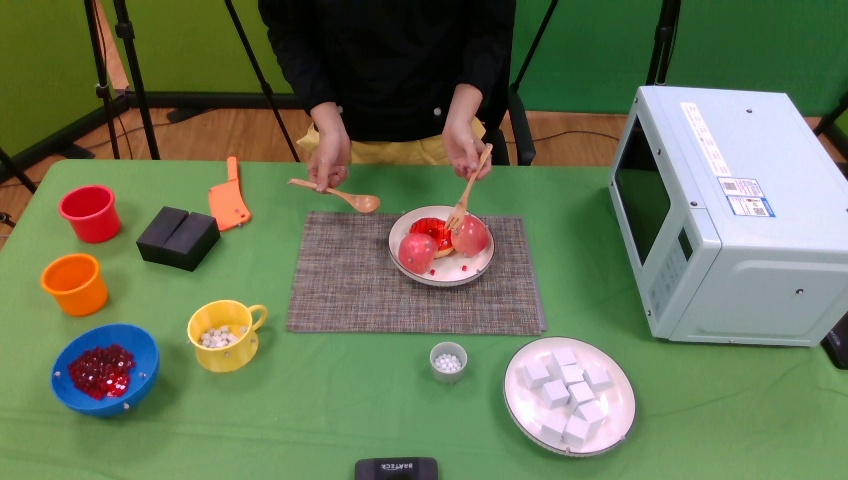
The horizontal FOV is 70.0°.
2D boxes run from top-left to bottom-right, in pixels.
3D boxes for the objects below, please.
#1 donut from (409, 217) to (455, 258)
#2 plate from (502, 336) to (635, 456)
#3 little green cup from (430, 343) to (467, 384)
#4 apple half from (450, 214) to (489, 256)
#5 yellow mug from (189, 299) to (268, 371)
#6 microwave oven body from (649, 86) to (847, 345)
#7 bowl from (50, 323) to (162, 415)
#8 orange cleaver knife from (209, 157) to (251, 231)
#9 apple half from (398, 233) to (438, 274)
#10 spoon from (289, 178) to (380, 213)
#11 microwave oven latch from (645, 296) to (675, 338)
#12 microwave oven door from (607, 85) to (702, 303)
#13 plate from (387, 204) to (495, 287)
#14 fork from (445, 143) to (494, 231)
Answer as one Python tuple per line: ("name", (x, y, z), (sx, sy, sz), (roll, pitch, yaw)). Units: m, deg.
("donut", (0.019, -0.006, 1.174), (0.099, 0.048, 0.098), (3, 43, -2))
("plate", (0.225, 0.248, 0.964), (0.208, 0.039, 0.206), (2, 46, -2))
("little green cup", (0.039, 0.203, 0.993), (0.061, 0.039, 0.061), (2, 46, -2))
("apple half", (0.092, -0.013, 1.158), (0.075, 0.053, 0.080), (34, 39, -28))
("yellow mug", (-0.316, 0.148, 1.002), (0.131, 0.064, 0.099), (-33, 56, -31))
("microwave oven body", (0.568, -0.053, 1.118), (0.326, 0.261, 0.439), (2, 45, -1))
("bowl", (-0.472, 0.209, 0.924), (0.151, 0.077, 0.150), (3, 45, -2))
("orange cleaver knife", (-0.409, -0.099, 1.266), (0.077, 0.012, 0.210), (-14, 50, -10))
("apple half", (-0.016, 0.022, 1.123), (0.081, 0.033, 0.081), (-2, 83, 14))
("spoon", (-0.175, -0.092, 1.173), (0.193, 0.022, 0.041), (19, 65, 10))
("microwave oven latch", (0.412, 0.134, 1.061), (0.030, 0.029, 0.078), (3, 45, 0))
("microwave oven door", (0.423, -0.094, 1.141), (0.039, 0.245, 0.353), (2, 46, -1))
("plate", (0.033, 0.014, 1.171), (0.209, 0.038, 0.208), (2, 46, -2))
("fork", (0.087, -0.100, 1.105), (0.028, 0.019, 0.206), (15, 66, 25))
